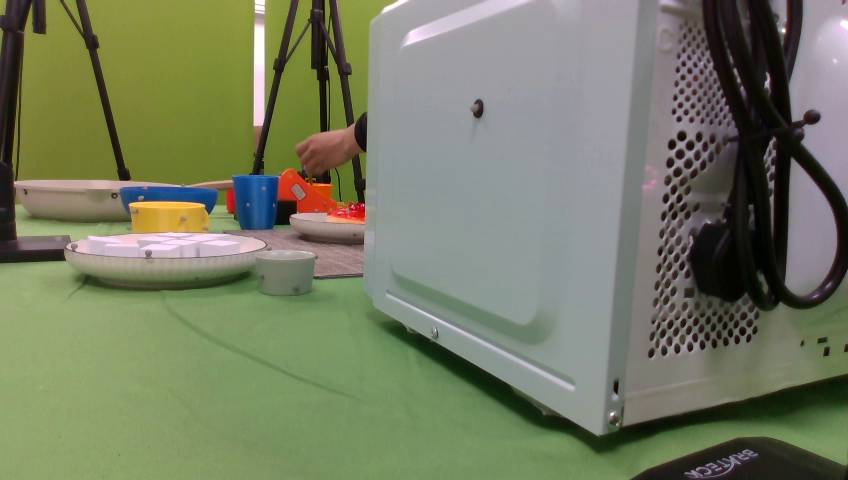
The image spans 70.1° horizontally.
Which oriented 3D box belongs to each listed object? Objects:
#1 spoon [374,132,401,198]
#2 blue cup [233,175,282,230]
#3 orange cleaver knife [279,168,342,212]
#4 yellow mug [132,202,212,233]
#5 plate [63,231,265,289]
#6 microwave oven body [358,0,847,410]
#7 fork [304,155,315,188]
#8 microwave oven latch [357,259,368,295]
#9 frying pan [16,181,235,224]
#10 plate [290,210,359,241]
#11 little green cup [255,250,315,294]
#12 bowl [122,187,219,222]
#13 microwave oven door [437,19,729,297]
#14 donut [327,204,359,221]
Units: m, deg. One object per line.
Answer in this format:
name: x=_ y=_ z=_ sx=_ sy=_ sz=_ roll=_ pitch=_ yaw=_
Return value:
spoon: x=-0.089 y=-0.176 z=1.398 sx=0.042 sy=0.193 sz=0.021 roll=-6 pitch=-26 yaw=-17
blue cup: x=-0.314 y=-0.071 z=1.141 sx=0.093 sy=0.100 sz=0.092 roll=0 pitch=7 yaw=0
orange cleaver knife: x=-0.237 y=-0.084 z=1.333 sx=0.212 sy=0.077 sz=0.012 roll=31 pitch=-10 yaw=-32
yellow mug: x=-0.356 y=-0.020 z=0.878 sx=0.099 sy=0.064 sz=0.131 roll=5 pitch=7 yaw=22
plate: x=-0.288 y=0.021 z=0.687 sx=0.208 sy=0.039 sz=0.207 roll=2 pitch=8 yaw=0
microwave oven body: x=0.210 y=-0.051 z=0.471 sx=0.444 sy=0.260 sz=0.324 roll=-1 pitch=7 yaw=-28
fork: x=-0.268 y=-0.134 z=1.447 sx=0.028 sy=0.018 sz=0.207 roll=2 pitch=-36 yaw=-1
microwave oven latch: x=-0.019 y=0.031 z=0.529 sx=0.079 sy=0.029 sz=0.030 roll=-1 pitch=7 yaw=-26
frying pan: x=-0.554 y=-0.097 z=1.266 sx=0.490 sy=0.102 sz=0.305 roll=-10 pitch=13 yaw=-24
plate: x=-0.127 y=-0.026 z=1.051 sx=0.209 sy=0.038 sz=0.209 roll=2 pitch=7 yaw=0
little green cup: x=-0.144 y=0.032 z=0.627 sx=0.061 sy=0.038 sz=0.061 roll=3 pitch=6 yaw=0
bowl: x=-0.421 y=-0.046 z=1.012 sx=0.151 sy=0.077 sz=0.151 roll=2 pitch=8 yaw=0
microwave oven door: x=0.180 y=-0.076 z=0.618 sx=0.358 sy=0.243 sz=0.039 roll=-2 pitch=9 yaw=-28
donut: x=-0.120 y=-0.037 z=1.056 sx=0.099 sy=0.048 sz=0.099 roll=5 pitch=6 yaw=0
